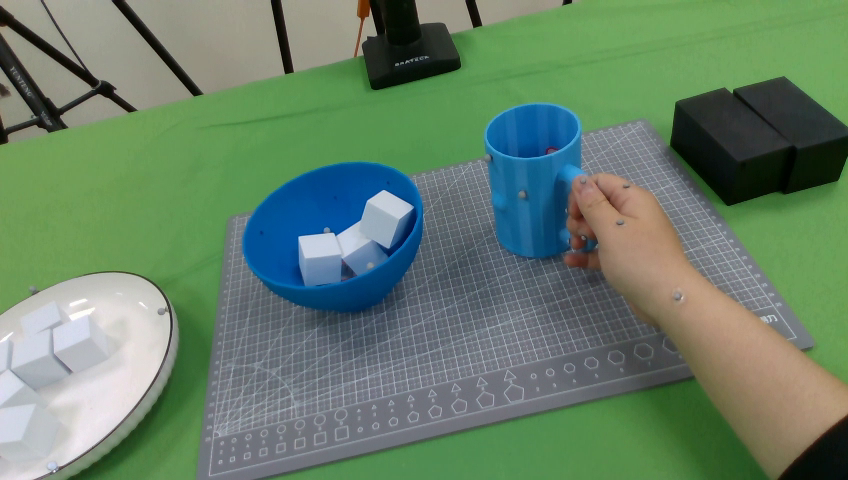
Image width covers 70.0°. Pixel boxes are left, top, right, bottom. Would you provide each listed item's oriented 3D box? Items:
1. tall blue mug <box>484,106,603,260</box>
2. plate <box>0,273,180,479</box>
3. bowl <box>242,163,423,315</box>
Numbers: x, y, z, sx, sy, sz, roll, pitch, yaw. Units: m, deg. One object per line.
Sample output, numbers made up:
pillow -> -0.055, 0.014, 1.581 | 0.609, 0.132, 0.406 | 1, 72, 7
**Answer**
tall blue mug -> 0.107, -0.042, 0.506 | 0.106, 0.109, 0.077 | 16, 51, 28
plate -> -0.301, 0.116, 0.501 | 0.209, 0.038, 0.207 | -6, 44, 7
bowl -> -0.069, 0.011, 0.517 | 0.151, 0.077, 0.150 | -7, 44, 7
